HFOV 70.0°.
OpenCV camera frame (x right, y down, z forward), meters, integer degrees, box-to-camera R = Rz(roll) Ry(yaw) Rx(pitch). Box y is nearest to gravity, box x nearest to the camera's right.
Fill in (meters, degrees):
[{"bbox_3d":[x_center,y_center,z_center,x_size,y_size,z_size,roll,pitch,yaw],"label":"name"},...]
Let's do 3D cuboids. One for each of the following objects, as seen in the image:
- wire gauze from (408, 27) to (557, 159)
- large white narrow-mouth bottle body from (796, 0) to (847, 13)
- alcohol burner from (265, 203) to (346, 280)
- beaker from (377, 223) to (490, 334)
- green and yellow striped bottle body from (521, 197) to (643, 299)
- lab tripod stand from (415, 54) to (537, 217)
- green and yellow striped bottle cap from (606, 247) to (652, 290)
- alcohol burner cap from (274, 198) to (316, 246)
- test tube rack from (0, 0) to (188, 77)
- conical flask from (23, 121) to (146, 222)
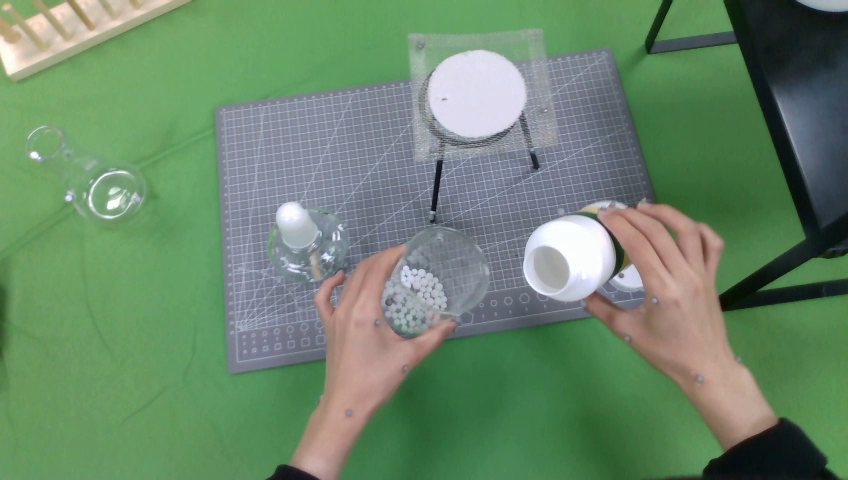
[{"bbox_3d":[0.049,-0.131,0.522,0.121,0.011,0.124,-3,72,0],"label":"wire gauze"},{"bbox_3d":[0.327,-0.256,0.407,0.102,0.196,0.101,-1,69,2],"label":"large white narrow-mouth bottle body"},{"bbox_3d":[-0.114,-0.005,0.568,0.078,0.120,0.077,0,70,1],"label":"alcohol burner"},{"bbox_3d":[0.000,0.039,0.522,0.084,0.100,0.073,-9,73,-21],"label":"beaker"},{"bbox_3d":[0.121,0.006,0.473,0.063,0.063,0.120,50,38,17],"label":"green and yellow striped bottle body"},{"bbox_3d":[0.045,-0.104,0.585,0.148,0.132,0.147,0,70,1],"label":"lab tripod stand"},{"bbox_3d":[0.201,0.026,0.598,0.045,0.020,0.045,-1,71,4],"label":"green and yellow striped bottle cap"},{"bbox_3d":[-0.116,-0.018,0.534,0.034,0.048,0.033,0,64,0],"label":"alcohol burner cap"},{"bbox_3d":[-0.388,-0.285,0.689,0.242,0.086,0.066,-28,73,-7],"label":"test tube rack"},{"bbox_3d":[-0.337,-0.072,0.597,0.075,0.122,0.075,-1,71,2],"label":"conical flask"}]
